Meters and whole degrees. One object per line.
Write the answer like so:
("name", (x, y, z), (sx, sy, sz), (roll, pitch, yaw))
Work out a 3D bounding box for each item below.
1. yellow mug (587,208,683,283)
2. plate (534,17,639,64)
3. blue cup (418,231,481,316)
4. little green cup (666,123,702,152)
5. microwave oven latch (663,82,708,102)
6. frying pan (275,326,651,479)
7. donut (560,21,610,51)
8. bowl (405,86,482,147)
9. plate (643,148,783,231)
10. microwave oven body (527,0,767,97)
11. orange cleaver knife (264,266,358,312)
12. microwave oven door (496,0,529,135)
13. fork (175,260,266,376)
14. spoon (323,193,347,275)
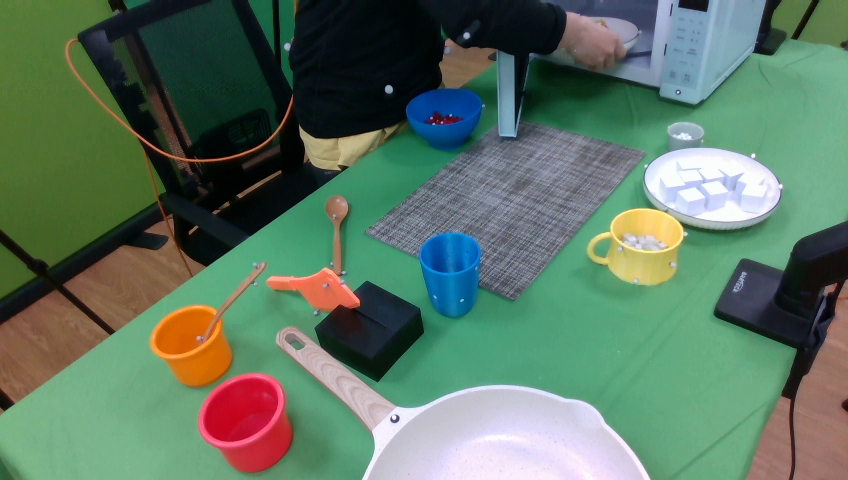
("yellow mug", (0.305, 0.009, 0.884), (0.131, 0.064, 0.099), (-4, 41, 5))
("plate", (0.333, -0.410, 1.249), (0.209, 0.038, 0.208), (-5, 36, 5))
("blue cup", (0.040, 0.053, 0.843), (0.092, 0.100, 0.092), (-4, 43, 4))
("little green cup", (0.472, -0.183, 1.103), (0.061, 0.039, 0.061), (-5, 41, 5))
("microwave oven latch", (0.518, -0.299, 1.202), (0.078, 0.029, 0.030), (30, 54, 36))
("frying pan", (0.004, 0.229, 0.641), (0.484, 0.103, 0.308), (34, 54, 28))
("donut", (0.328, -0.414, 1.235), (0.099, 0.048, 0.098), (-8, 39, 7))
("bowl", (0.041, -0.236, 1.196), (0.151, 0.077, 0.150), (-4, 40, 4))
("plate", (0.464, -0.080, 0.986), (0.207, 0.039, 0.206), (-4, 41, 4))
("microwave oven body", (0.473, -0.516, 1.313), (0.438, 0.261, 0.327), (26, 51, 34))
("orange cleaver knife", (-0.165, 0.073, 0.864), (0.210, 0.077, 0.012), (-6, 31, 49))
("microwave oven door", (0.183, -0.411, 1.225), (0.039, 0.245, 0.355), (3, 42, 12))
("fork", (-0.268, 0.103, 0.792), (0.207, 0.019, 0.028), (-51, 41, 16))
("spoon", (-0.148, -0.014, 1.008), (0.042, 0.021, 0.192), (5, 39, -12))
